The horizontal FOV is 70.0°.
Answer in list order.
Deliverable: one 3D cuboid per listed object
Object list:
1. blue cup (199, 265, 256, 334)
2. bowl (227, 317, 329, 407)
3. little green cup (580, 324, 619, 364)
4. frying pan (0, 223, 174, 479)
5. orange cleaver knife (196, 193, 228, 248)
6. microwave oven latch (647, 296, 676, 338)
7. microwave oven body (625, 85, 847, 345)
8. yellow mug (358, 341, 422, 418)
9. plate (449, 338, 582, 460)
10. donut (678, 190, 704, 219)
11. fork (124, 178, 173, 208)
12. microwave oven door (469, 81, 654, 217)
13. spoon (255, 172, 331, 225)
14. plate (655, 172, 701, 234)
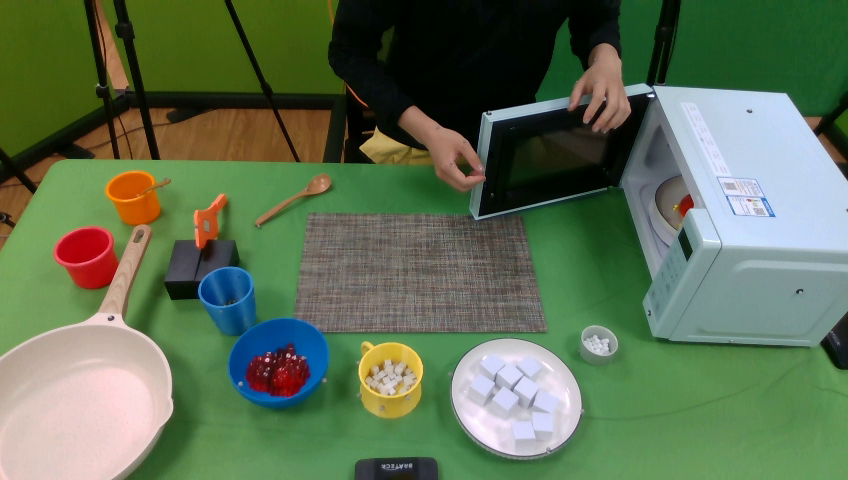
[{"bbox_3d":[-0.321,0.107,1.014,0.093,0.101,0.092,2,48,-2],"label":"blue cup"},{"bbox_3d":[-0.222,0.203,0.947,0.151,0.077,0.150,2,46,-2],"label":"bowl"},{"bbox_3d":[0.296,0.179,1.031,0.061,0.039,0.061,2,46,-2],"label":"little green cup"},{"bbox_3d":[-0.505,0.169,0.941,0.307,0.103,0.485,5,54,-1],"label":"frying pan"},{"bbox_3d":[-0.406,-0.041,1.163,0.012,0.077,0.210,0,18,-3],"label":"orange cleaver knife"},{"bbox_3d":[0.413,0.133,1.060,0.030,0.029,0.078,4,46,1],"label":"microwave oven latch"},{"bbox_3d":[0.568,-0.054,1.116,0.326,0.261,0.439,2,46,-1],"label":"microwave oven body"},{"bbox_3d":[-0.063,0.210,0.960,0.100,0.064,0.130,-29,54,-28],"label":"yellow mug"},{"bbox_3d":[0.141,0.251,0.955,0.208,0.039,0.206,2,47,-2],"label":"plate"},{"bbox_3d":[0.542,-0.060,1.173,0.099,0.048,0.098,2,44,-1],"label":"donut"},{"bbox_3d":[-0.525,-0.090,1.154,0.207,0.019,0.028,-17,27,45],"label":"fork"},{"bbox_3d":[0.270,-0.179,1.207,0.356,0.245,0.039,-14,49,-16],"label":"microwave oven door"},{"bbox_3d":[-0.272,-0.087,1.257,0.041,0.022,0.193,43,57,17],"label":"spoon"},{"bbox_3d":[0.556,-0.052,1.187,0.209,0.038,0.208,2,47,-2],"label":"plate"}]
